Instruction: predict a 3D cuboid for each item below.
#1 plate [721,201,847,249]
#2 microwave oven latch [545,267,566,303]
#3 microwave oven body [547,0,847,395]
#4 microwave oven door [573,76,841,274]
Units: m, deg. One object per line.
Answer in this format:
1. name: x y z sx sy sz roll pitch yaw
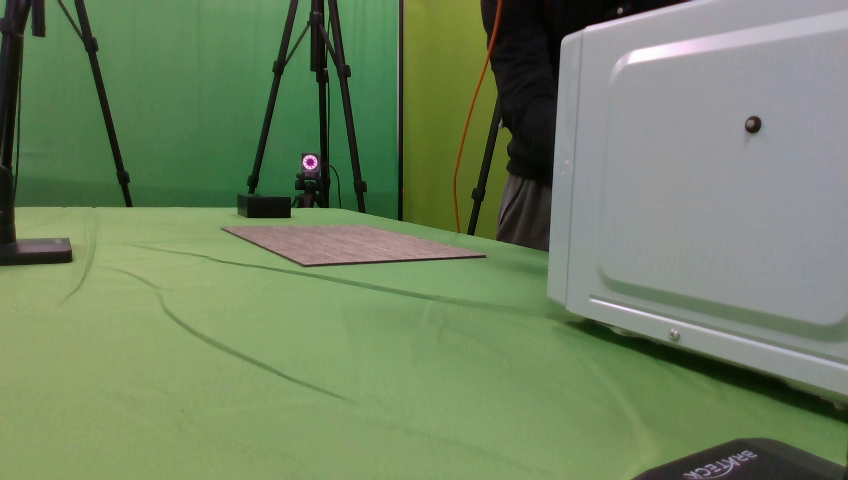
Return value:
1. plate: 0.396 -0.016 0.576 0.209 0.038 0.209 1 5 0
2. microwave oven latch: 0.148 0.039 0.555 0.079 0.029 0.030 -1 7 -28
3. microwave oven body: 0.378 -0.046 0.510 0.444 0.260 0.324 -2 7 -31
4. microwave oven door: 0.377 -0.094 0.865 0.039 0.243 0.354 -4 9 -41
